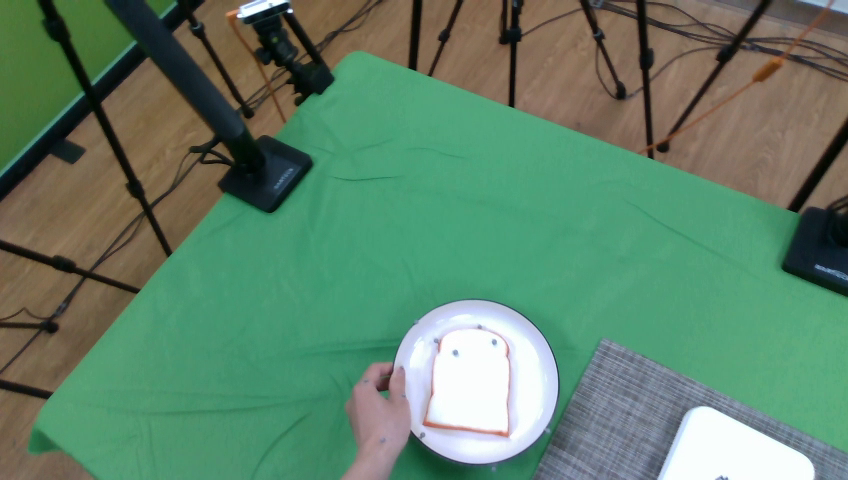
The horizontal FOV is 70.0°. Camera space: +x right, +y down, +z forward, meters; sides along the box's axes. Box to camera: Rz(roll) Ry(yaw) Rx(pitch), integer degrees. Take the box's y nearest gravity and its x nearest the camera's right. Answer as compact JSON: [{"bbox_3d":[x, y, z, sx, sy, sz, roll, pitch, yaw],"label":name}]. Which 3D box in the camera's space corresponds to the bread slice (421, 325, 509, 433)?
[{"bbox_3d":[0.056,0.171,0.765,0.105,0.019,0.130,6,63,3],"label":"bread slice"}]

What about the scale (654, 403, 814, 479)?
[{"bbox_3d":[0.339,0.301,0.690,0.148,0.032,0.200,26,68,20],"label":"scale"}]

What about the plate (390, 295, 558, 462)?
[{"bbox_3d":[0.062,0.171,0.763,0.209,0.038,0.207,0,63,1],"label":"plate"}]
